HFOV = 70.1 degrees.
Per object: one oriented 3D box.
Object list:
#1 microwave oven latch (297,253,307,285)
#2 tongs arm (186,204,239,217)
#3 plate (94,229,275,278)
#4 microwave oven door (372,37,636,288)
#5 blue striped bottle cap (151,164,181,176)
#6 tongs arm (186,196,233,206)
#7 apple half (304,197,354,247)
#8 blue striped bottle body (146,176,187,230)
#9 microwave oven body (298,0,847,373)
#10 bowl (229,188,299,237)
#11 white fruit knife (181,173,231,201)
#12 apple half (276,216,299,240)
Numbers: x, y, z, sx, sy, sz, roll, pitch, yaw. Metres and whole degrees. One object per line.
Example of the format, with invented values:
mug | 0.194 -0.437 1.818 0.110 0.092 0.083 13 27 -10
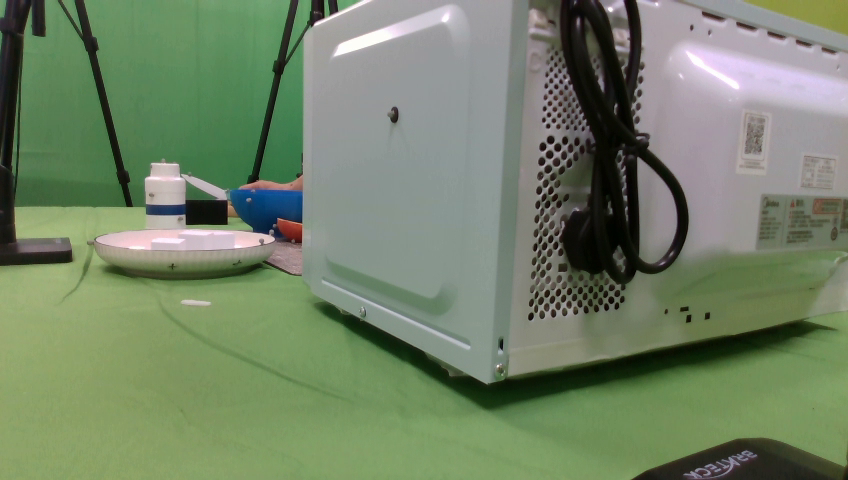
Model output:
microwave oven latch | -0.082 0.027 0.582 0.079 0.029 0.030 -1 7 -32
tongs arm | -0.396 -0.066 1.399 0.389 0.028 0.028 1 5 -15
plate | -0.291 0.016 0.750 0.208 0.039 0.207 2 7 0
microwave oven door | 0.110 -0.080 0.686 0.358 0.243 0.039 -2 9 -33
blue striped bottle cap | -0.428 -0.116 1.002 0.044 0.020 0.044 1 6 0
tongs arm | -0.404 -0.081 1.479 0.385 0.026 0.050 3 8 -2
apple half | -0.139 -0.025 0.937 0.053 0.074 0.081 14 19 35
blue striped bottle body | -0.430 -0.065 1.010 0.063 0.120 0.063 2 7 0
microwave oven body | 0.151 -0.055 0.542 0.444 0.260 0.324 -2 7 -33
bowl | -0.265 -0.048 1.066 0.151 0.077 0.151 3 8 0
white fruit knife | -0.415 -0.094 1.277 0.016 0.027 0.208 -18 -34 40
apple half | -0.202 -0.016 0.984 0.081 0.033 0.081 11 0 0
